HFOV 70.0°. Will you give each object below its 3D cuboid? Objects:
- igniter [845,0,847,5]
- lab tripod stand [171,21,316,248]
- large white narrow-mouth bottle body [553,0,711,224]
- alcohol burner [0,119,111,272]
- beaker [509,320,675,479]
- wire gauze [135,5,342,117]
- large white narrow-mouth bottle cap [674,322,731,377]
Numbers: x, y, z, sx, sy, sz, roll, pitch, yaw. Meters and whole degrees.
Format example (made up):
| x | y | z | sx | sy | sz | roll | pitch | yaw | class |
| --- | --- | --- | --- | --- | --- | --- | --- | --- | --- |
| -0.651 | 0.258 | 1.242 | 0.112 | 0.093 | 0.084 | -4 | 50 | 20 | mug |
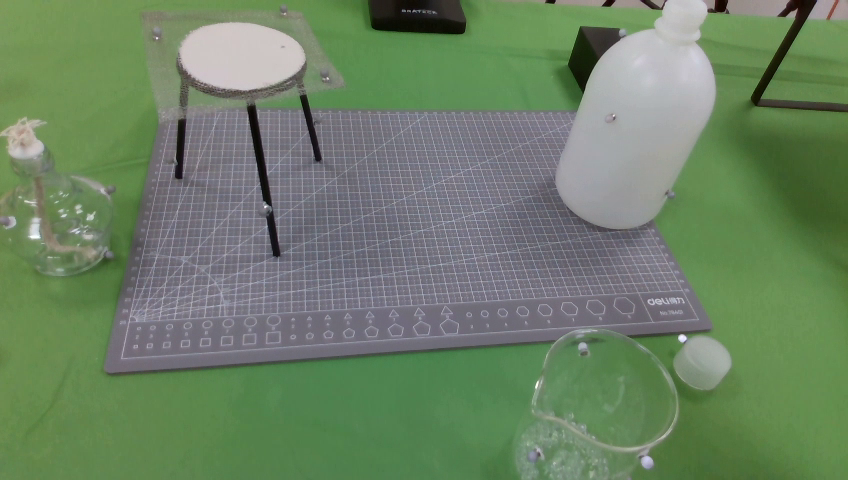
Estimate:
| x | y | z | sx | sy | sz | roll | pitch | yaw | class |
| --- | --- | --- | --- | --- | --- | --- | --- | --- | --- |
| 0.260 | -0.126 | 0.340 | 0.025 | 0.057 | 0.275 | 2 | 65 | -51 | igniter |
| -0.137 | -0.088 | 0.477 | 0.149 | 0.132 | 0.147 | 6 | 47 | -6 | lab tripod stand |
| 0.179 | -0.111 | 0.509 | 0.102 | 0.196 | 0.101 | 4 | 47 | -4 | large white narrow-mouth bottle body |
| -0.266 | -0.034 | 0.424 | 0.078 | 0.120 | 0.077 | 6 | 45 | -5 | alcohol burner |
| 0.091 | 0.108 | 0.362 | 0.084 | 0.101 | 0.073 | -12 | 50 | -17 | beaker |
| -0.133 | -0.134 | 0.428 | 0.122 | 0.011 | 0.123 | -12 | 52 | -21 | wire gauze |
| 0.210 | 0.083 | 0.458 | 0.038 | 0.024 | 0.037 | 4 | 47 | -4 | large white narrow-mouth bottle cap |
